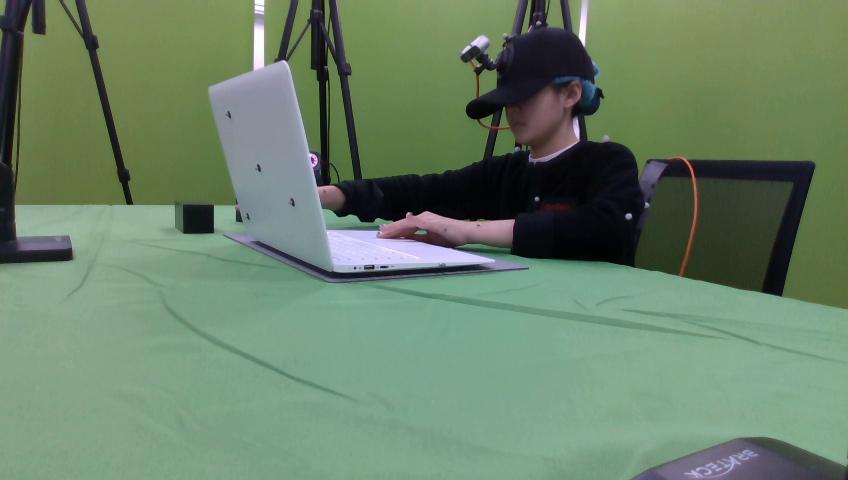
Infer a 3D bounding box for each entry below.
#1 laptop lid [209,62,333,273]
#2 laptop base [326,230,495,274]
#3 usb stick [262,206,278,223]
[{"bbox_3d":[-0.213,-0.095,0.790,0.013,0.241,0.355,-18,18,-29],"label":"laptop lid"},{"bbox_3d":[-0.093,0.015,0.884,0.237,0.023,0.352,3,6,-33],"label":"laptop base"},{"bbox_3d":[-0.269,-0.045,1.061,0.021,0.027,0.059,0,10,-24],"label":"usb stick"}]
